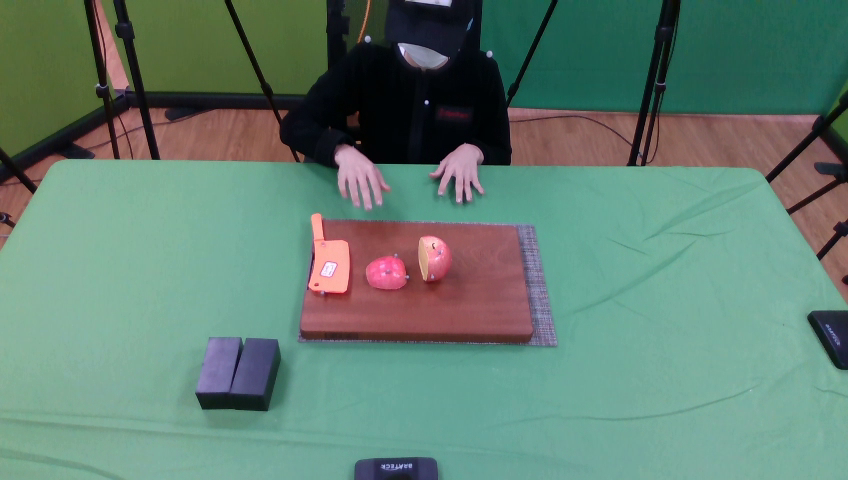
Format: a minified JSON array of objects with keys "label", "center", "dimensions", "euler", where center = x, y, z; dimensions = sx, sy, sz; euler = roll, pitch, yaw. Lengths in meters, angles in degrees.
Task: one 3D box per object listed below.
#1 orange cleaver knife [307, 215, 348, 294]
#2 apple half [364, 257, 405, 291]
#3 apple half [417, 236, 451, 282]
[{"label":"orange cleaver knife","center":[-0.180,0.023,1.126],"dimensions":[0.077,0.012,0.210],"euler":[-6,44,-7]},{"label":"apple half","center":[-0.070,0.054,1.095],"dimensions":[0.081,0.033,0.081],"euler":[4,45,-4]},{"label":"apple half","center":[0.020,0.035,1.092],"dimensions":[0.053,0.075,0.080],"euler":[-4,42,-14]}]
